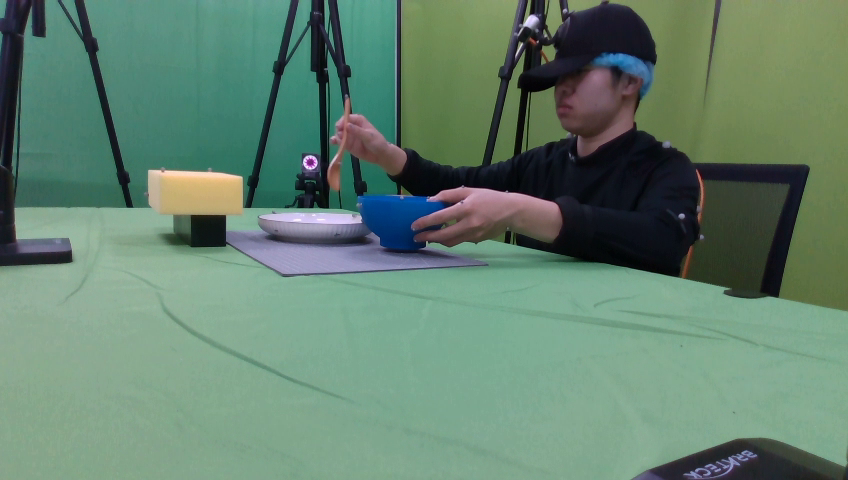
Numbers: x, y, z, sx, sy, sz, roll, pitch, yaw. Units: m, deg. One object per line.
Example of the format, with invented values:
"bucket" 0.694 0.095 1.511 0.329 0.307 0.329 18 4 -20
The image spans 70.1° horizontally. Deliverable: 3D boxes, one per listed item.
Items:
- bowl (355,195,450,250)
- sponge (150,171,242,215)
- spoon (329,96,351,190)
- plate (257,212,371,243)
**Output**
"bowl" -0.035 -0.028 0.956 0.151 0.077 0.151 3 7 0
"sponge" -0.379 -0.079 0.994 0.119 0.061 0.206 -1 8 -29
"spoon" -0.157 -0.188 1.168 0.021 0.193 0.042 5 -14 23
"plate" -0.189 -0.023 1.072 0.209 0.038 0.209 3 7 0
